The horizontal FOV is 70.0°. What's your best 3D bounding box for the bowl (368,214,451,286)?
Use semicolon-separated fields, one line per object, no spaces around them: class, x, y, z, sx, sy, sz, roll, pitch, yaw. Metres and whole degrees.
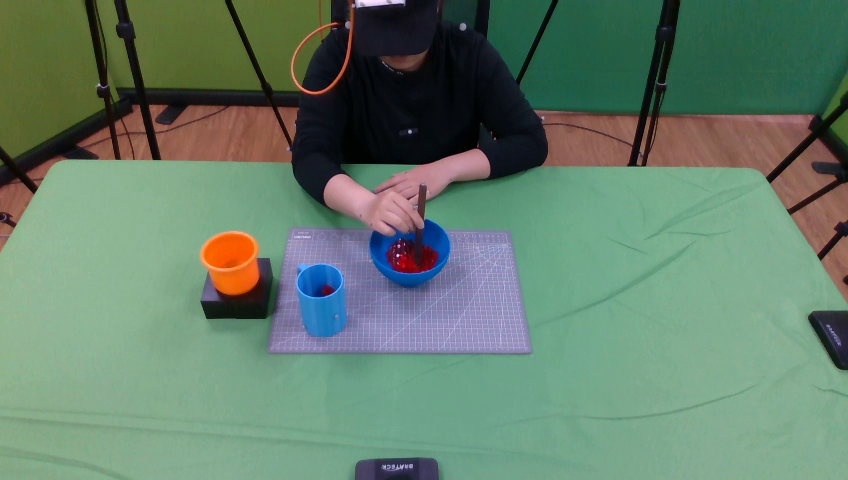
bowl;-0.028;0.031;1.122;0.151;0.077;0.150;2;46;-2

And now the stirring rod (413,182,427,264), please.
stirring rod;-0.008;-0.026;1.076;0.014;0.177;0.006;14;38;11

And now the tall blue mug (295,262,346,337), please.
tall blue mug;-0.187;0.096;1.027;0.107;0.108;0.077;21;49;16
